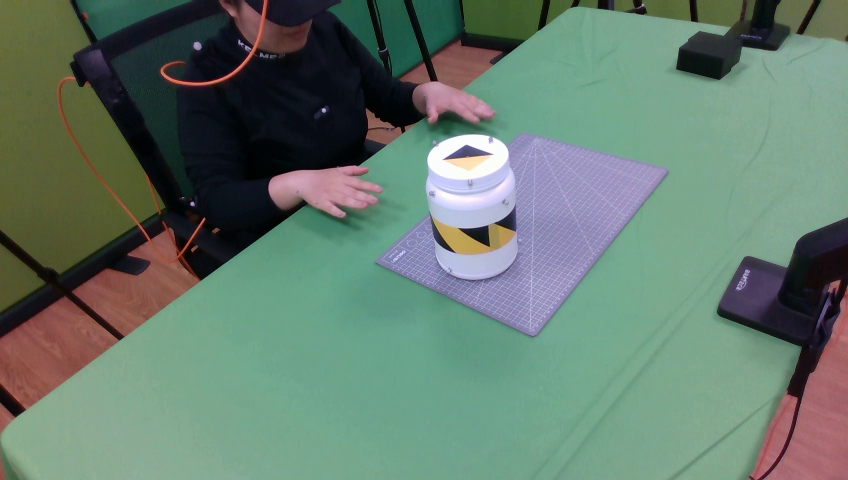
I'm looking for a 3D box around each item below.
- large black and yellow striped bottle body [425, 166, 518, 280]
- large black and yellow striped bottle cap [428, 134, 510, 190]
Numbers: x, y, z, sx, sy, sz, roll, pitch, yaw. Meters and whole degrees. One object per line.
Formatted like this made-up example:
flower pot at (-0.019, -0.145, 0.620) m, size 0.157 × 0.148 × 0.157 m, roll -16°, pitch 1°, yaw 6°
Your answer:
large black and yellow striped bottle body at (0.072, -0.047, 0.894) m, size 0.131 × 0.185 × 0.130 m, roll -5°, pitch 40°, yaw 5°
large black and yellow striped bottle cap at (0.062, -0.111, 0.840) m, size 0.115 × 0.019 × 0.114 m, roll -5°, pitch 41°, yaw 5°
